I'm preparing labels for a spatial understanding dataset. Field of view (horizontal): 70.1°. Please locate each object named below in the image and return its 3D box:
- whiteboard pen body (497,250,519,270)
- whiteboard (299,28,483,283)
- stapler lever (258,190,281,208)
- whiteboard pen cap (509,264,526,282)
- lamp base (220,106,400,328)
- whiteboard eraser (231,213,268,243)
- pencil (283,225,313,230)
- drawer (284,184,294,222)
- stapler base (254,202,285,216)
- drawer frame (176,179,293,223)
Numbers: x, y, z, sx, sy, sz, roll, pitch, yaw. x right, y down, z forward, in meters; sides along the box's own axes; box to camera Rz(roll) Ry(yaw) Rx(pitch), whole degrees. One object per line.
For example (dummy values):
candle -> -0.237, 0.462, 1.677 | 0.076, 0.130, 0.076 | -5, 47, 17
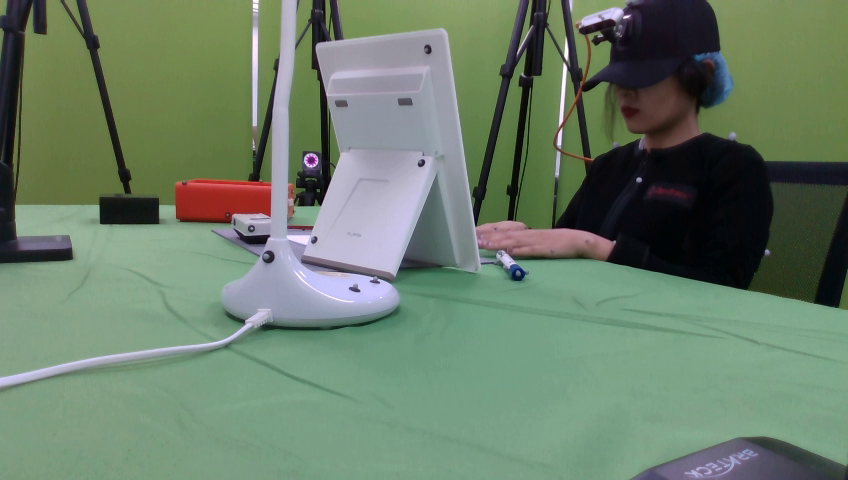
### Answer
whiteboard pen body -> 0.116, 0.032, 0.810 | 0.017, 0.017, 0.140 | 2, 8, -2
whiteboard -> -0.075, -0.082, 0.741 | 0.216, 0.305, 0.144 | 9, 30, 39
stapler lever -> -0.333, -0.091, 1.305 | 0.027, 0.040, 0.118 | 6, 9, -2
whiteboard pen cap -> 0.116, 0.039, 0.752 | 0.018, 0.018, 0.033 | 2, 10, -1
lamp base -> -0.101, -0.023, 0.531 | 0.160, 0.180, 0.179 | 4, 10, 10
whiteboard eraser -> -0.270, -0.020, 0.967 | 0.056, 0.042, 0.112 | 0, 8, -28
pencil -> -0.216, -0.023, 1.134 | 0.195, 0.012, 0.012 | 1, 7, -22
drawer -> -0.390, -0.084, 1.301 | 0.212, 0.073, 0.194 | 1, 8, -8
stapler base -> -0.334, -0.069, 1.307 | 0.041, 0.024, 0.130 | 6, 6, -2
drawer frame -> -0.395, -0.085, 1.299 | 0.214, 0.082, 0.201 | 1, 8, -9
